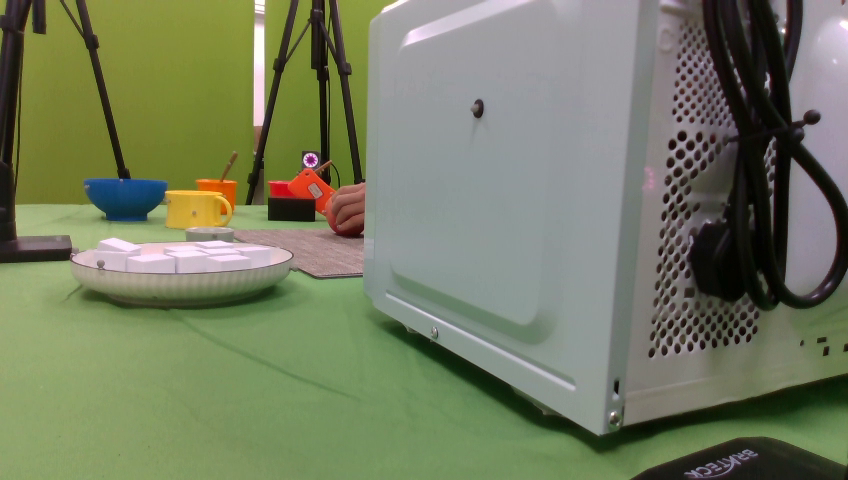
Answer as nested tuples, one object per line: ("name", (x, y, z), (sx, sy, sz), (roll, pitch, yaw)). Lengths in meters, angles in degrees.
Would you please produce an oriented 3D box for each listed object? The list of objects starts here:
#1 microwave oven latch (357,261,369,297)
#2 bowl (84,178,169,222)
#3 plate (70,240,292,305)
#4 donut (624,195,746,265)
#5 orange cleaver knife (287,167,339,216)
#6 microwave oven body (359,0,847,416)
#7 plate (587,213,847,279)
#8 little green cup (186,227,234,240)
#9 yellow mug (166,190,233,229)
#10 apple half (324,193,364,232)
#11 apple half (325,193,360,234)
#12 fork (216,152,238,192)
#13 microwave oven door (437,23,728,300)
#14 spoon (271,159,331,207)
("microwave oven latch", (-0.019, 0.033, 0.530), (0.079, 0.029, 0.030), (-1, 7, -27))
("bowl", (-0.584, -0.078, 1.194), (0.151, 0.077, 0.151), (3, 8, 0))
("plate", (-0.242, 0.031, 0.618), (0.208, 0.039, 0.207), (2, 8, 0))
("donut", (0.221, -0.007, 0.518), (0.099, 0.048, 0.099), (20, 0, 0))
("orange cleaver knife", (-0.209, -0.089, 1.383), (0.212, 0.077, 0.012), (31, 3, -15))
("microwave oven body", (0.211, -0.047, 0.474), (0.444, 0.260, 0.324), (-1, 7, -28))
("plate", (0.244, 0.002, 0.512), (0.209, 0.038, 0.209), (1, 7, 0))
("little green cup", (-0.284, 0.005, 0.805), (0.061, 0.038, 0.061), (2, 8, 0))
("yellow mug", (-0.415, -0.057, 1.132), (0.130, 0.064, 0.100), (6, 8, 16))
("apple half", (-0.152, -0.053, 1.121), (0.082, 0.081, 0.032), (-2, 12, -27))
("apple half", (-0.134, -0.047, 1.087), (0.081, 0.074, 0.053), (3, 11, -27))
("fork", (-0.455, -0.132, 1.366), (0.028, 0.018, 0.207), (-2, -35, -37))
("microwave oven door", (0.181, -0.072, 0.621), (0.358, 0.243, 0.039), (-2, 8, -29))
("spoon", (-0.307, -0.141, 1.514), (0.193, 0.021, 0.041), (-41, 5, 8))
